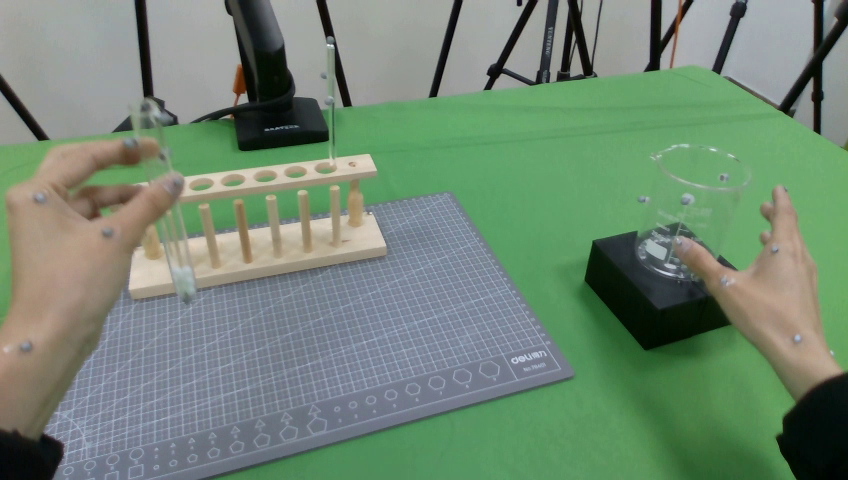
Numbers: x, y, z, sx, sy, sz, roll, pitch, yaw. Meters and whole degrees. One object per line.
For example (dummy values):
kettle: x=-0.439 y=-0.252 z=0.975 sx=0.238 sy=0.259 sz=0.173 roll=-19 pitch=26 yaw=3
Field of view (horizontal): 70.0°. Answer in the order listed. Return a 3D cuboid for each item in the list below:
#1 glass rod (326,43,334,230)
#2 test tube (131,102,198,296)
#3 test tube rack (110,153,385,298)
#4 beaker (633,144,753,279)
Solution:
glass rod: x=-0.091 y=-0.089 z=0.580 sx=0.008 sy=0.201 sz=0.008 roll=5 pitch=39 yaw=-4
test tube: x=-0.161 y=-0.018 z=0.382 sx=0.017 sy=0.151 sz=0.017 roll=5 pitch=42 yaw=-4
test tube rack: x=-0.164 y=-0.017 z=0.593 sx=0.243 sy=0.086 sz=0.066 roll=-10 pitch=39 yaw=-14
beaker: x=0.224 y=-0.024 z=0.526 sx=0.083 sy=0.101 sz=0.074 roll=28 pitch=45 yaw=31
